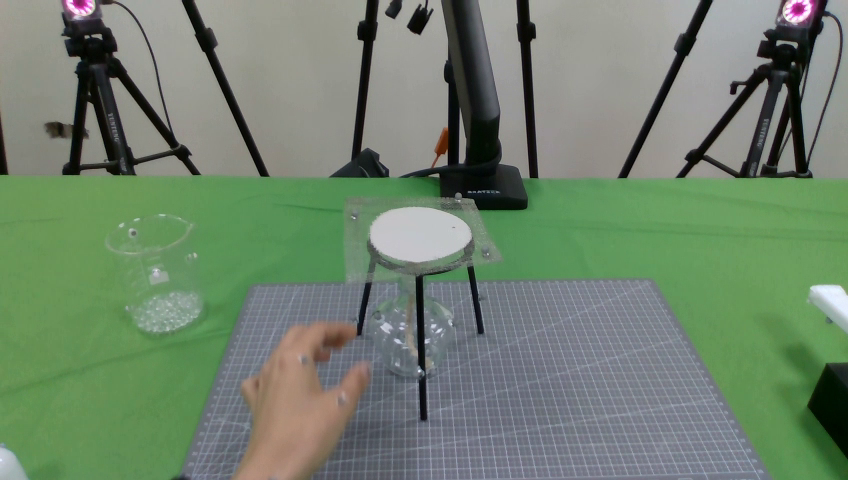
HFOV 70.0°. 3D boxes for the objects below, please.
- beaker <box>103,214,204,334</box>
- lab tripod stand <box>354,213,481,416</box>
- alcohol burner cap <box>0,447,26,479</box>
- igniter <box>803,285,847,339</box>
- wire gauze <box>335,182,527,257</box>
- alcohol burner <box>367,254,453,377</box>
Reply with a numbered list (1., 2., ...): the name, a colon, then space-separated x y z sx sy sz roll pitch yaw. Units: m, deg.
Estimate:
1. beaker: -0.260 0.034 0.600 0.084 0.101 0.073 -25 40 -35
2. lab tripod stand: -0.003 0.056 0.532 0.148 0.132 0.147 2 33 -1
3. alcohol burner cap: -0.307 0.170 0.433 0.034 0.048 0.033 2 30 -1
4. igniter: 0.386 0.115 0.463 0.057 0.025 0.274 -1 29 -3
5. wire gauze: 0.003 -0.017 0.492 0.125 0.011 0.120 -8 28 -27
6. alcohol burner: -0.012 0.063 0.540 0.078 0.120 0.077 2 32 -1
